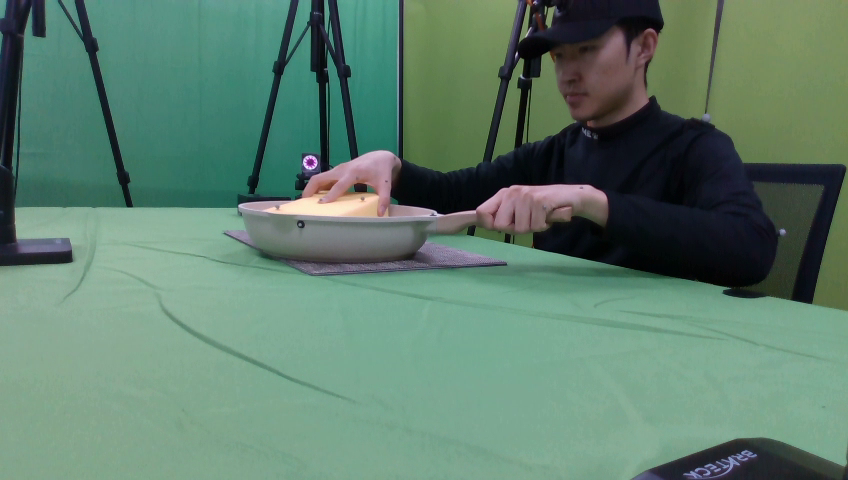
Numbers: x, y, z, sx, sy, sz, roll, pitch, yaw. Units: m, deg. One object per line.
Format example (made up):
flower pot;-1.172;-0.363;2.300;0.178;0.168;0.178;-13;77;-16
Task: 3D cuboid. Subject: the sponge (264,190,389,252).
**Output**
sponge;-0.143;-0.030;0.926;0.118;0.061;0.207;4;14;16

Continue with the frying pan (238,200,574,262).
frying pan;-0.033;-0.026;0.867;0.486;0.102;0.308;-4;5;24
